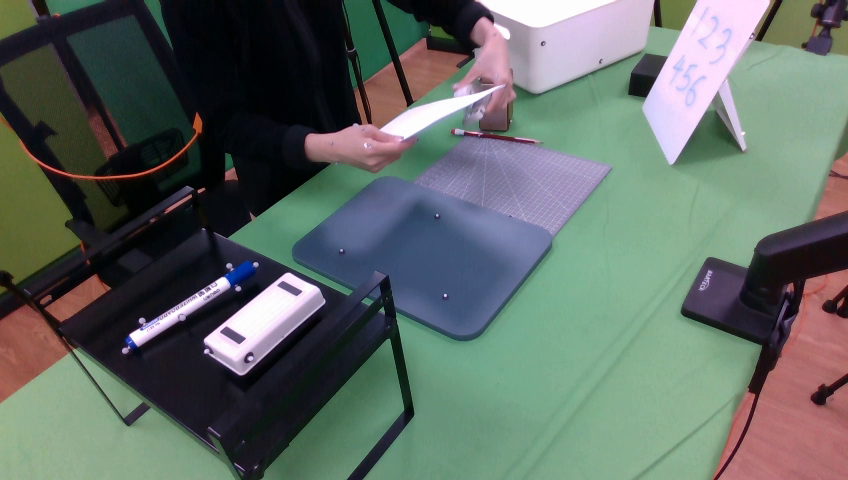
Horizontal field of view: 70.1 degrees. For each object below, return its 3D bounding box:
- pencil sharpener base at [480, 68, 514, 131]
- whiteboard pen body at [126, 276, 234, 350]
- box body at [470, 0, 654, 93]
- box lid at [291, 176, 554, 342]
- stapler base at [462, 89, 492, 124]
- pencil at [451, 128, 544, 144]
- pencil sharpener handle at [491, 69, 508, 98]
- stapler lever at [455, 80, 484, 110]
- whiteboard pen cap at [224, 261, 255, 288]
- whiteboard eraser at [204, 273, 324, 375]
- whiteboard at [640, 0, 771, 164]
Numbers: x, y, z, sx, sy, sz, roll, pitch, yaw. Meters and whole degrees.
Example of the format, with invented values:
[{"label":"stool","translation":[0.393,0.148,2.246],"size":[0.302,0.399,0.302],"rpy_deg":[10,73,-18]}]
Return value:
[{"label":"pencil sharpener base","translation":[0.148,-0.286,1.225],"size":[0.061,0.107,0.076],"rpy_deg":[5,42,15]},{"label":"whiteboard pen body","translation":[-0.251,0.070,0.649],"size":[0.141,0.017,0.017],"rpy_deg":[-36,48,-26]},{"label":"box body","translation":[0.319,-0.498,1.405],"size":[0.365,0.161,0.252],"rpy_deg":[-26,43,-21]},{"label":"box lid","translation":[-0.005,0.011,0.972],"size":[0.368,0.015,0.264],"rpy_deg":[21,49,30]},{"label":"stapler base","translation":[0.092,-0.245,1.082],"size":[0.041,0.024,0.130],"rpy_deg":[-16,25,23]},{"label":"pencil","translation":[0.145,-0.207,1.205],"size":[0.193,0.012,0.012],"rpy_deg":[12,44,20]},{"label":"pencil sharpener handle","translation":[0.155,-0.329,1.254],"size":[0.036,0.068,0.030],"rpy_deg":[17,43,4]},{"label":"stapler lever","translation":[0.081,-0.265,1.074],"size":[0.026,0.040,0.118],"rpy_deg":[-16,26,23]},{"label":"whiteboard pen cap","translation":[-0.207,0.039,0.677],"size":[0.033,0.018,0.018],"rpy_deg":[-36,47,-18]},{"label":"whiteboard eraser","translation":[-0.157,0.084,0.605],"size":[0.055,0.042,0.113],"rpy_deg":[24,49,30]},{"label":"whiteboard","translation":[0.543,-0.299,1.076],"size":[0.144,0.305,0.216],"rpy_deg":[12,40,-7]}]
